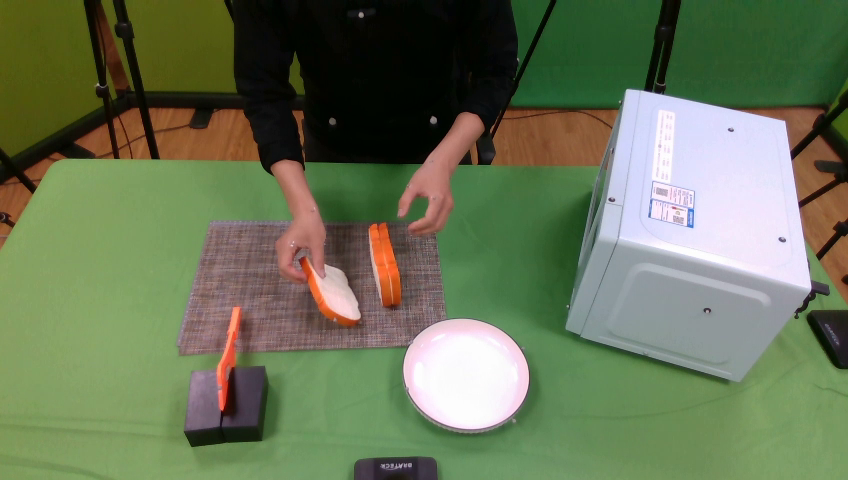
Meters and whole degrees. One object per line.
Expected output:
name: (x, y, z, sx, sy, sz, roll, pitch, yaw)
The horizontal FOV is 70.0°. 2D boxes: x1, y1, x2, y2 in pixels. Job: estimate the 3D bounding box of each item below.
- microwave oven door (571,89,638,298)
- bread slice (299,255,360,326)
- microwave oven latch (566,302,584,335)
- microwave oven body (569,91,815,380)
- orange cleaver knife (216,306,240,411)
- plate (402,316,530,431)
microwave oven door: (0.343, -0.091, 1.132, 0.039, 0.245, 0.354, 15, 47, 10)
bread slice: (-0.160, 0.088, 1.046, 0.107, 0.018, 0.133, 29, 27, -44)
microwave oven latch: (0.268, 0.126, 1.059, 0.030, 0.029, 0.079, 16, 46, 12)
microwave oven body: (0.468, -0.022, 1.082, 0.325, 0.261, 0.440, 15, 46, 11)
orange cleaver knife: (-0.307, 0.180, 0.957, 0.012, 0.077, 0.210, -2, 25, -8)
plate: (0.066, 0.217, 0.982, 0.208, 0.039, 0.206, 2, 46, -2)
